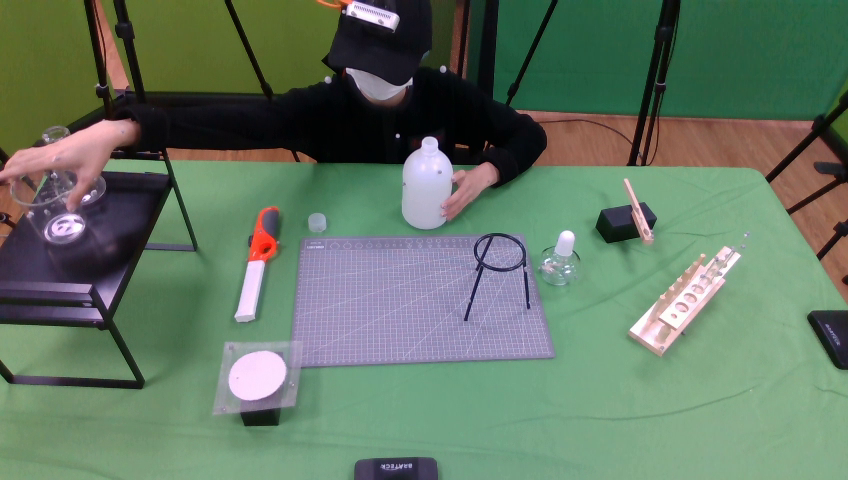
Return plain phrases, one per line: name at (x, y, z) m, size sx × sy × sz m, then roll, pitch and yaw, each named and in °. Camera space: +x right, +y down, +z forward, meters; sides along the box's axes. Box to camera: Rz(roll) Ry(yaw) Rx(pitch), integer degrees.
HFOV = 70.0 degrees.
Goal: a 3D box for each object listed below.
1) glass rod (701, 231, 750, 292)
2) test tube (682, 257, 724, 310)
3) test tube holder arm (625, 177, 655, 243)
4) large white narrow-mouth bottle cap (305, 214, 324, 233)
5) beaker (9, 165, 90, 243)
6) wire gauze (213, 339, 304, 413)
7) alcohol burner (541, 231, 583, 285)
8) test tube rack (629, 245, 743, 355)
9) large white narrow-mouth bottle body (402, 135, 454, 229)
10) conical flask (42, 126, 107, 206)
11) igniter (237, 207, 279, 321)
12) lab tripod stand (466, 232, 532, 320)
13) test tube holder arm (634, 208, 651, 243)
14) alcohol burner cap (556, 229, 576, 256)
glass rod at (0.519, 0.045, 1.050) m, size 0.008 × 0.201 × 0.008 m, roll 0°, pitch 55°, yaw 0°
test tube at (0.475, 0.080, 1.037) m, size 0.017 × 0.151 × 0.017 m, roll 2°, pitch 51°, yaw -2°
test tube holder arm at (0.433, -0.062, 1.220) m, size 0.013 × 0.015 × 0.177 m, roll 1°, pitch 47°, yaw -3°
large white narrow-mouth bottle cap at (-0.219, -0.033, 1.214) m, size 0.038 × 0.024 × 0.037 m, roll 2°, pitch 46°, yaw -2°
beaker at (-0.538, -0.049, 0.886) m, size 0.084 × 0.101 × 0.073 m, roll 0°, pitch 53°, yaw -9°
wire gauze at (-0.250, 0.203, 0.924) m, size 0.121 × 0.011 × 0.124 m, roll -1°, pitch 46°, yaw -3°
alcohol burner at (0.258, 0.028, 1.123) m, size 0.078 × 0.120 × 0.077 m, roll 1°, pitch 48°, yaw -1°
test tube rack at (0.474, 0.095, 1.091) m, size 0.242 × 0.085 × 0.066 m, roll -34°, pitch 56°, yaw -31°
large white narrow-mouth bottle body at (0.008, -0.120, 1.192) m, size 0.102 × 0.195 × 0.101 m, roll 2°, pitch 46°, yaw -2°
conical flask at (-0.556, -0.119, 0.953) m, size 0.075 × 0.122 × 0.075 m, roll 2°, pitch 46°, yaw -2°
igniter at (-0.309, 0.036, 1.136) m, size 0.057 × 0.025 × 0.274 m, roll -7°, pitch 45°, yaw 5°
lab tripod stand at (0.124, 0.059, 1.065) m, size 0.148 × 0.132 × 0.147 m, roll 1°, pitch 45°, yaw 0°
test tube holder arm at (0.428, -0.030, 1.189) m, size 0.010 × 0.015 × 0.087 m, roll 1°, pitch 47°, yaw -2°
alcohol burner cap at (0.260, 0.002, 1.098) m, size 0.034 × 0.048 × 0.033 m, roll 3°, pitch 40°, yaw -2°
